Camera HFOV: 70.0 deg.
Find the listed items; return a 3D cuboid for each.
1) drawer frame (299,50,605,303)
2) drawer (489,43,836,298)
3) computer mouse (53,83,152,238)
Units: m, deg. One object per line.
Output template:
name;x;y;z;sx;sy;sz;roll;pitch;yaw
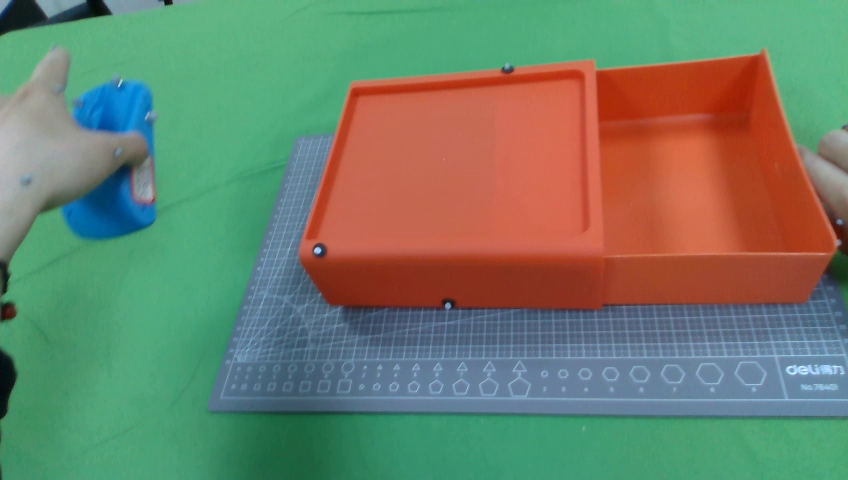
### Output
drawer frame;0.034;-0.051;0.482;0.213;0.083;0.200;-2;54;14
drawer;0.159;-0.053;0.455;0.211;0.074;0.193;-1;54;12
computer mouse;-0.237;-0.060;0.447;0.062;0.041;0.116;-6;80;16
